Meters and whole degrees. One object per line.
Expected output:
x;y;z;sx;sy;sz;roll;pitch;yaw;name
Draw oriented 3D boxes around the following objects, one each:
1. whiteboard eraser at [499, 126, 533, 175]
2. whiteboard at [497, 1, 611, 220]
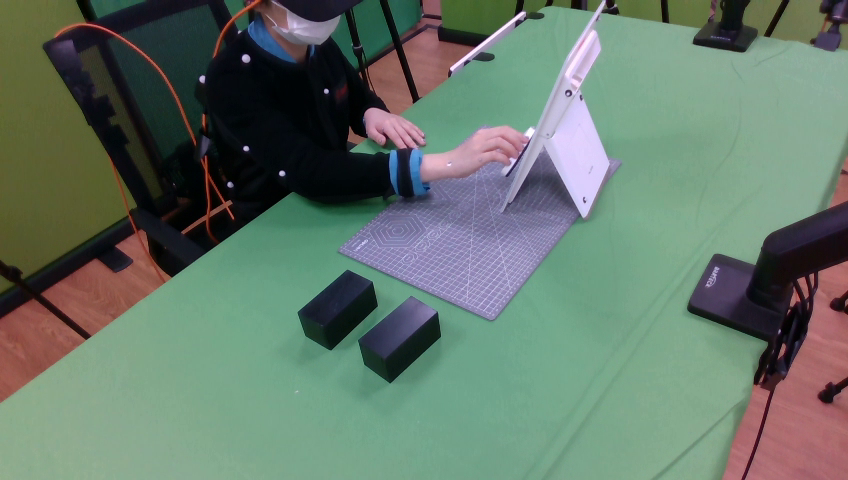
0.157;-0.149;1.010;0.019;0.041;0.101;35;71;2;whiteboard eraser
0.259;-0.177;0.963;0.143;0.306;0.217;28;48;9;whiteboard
